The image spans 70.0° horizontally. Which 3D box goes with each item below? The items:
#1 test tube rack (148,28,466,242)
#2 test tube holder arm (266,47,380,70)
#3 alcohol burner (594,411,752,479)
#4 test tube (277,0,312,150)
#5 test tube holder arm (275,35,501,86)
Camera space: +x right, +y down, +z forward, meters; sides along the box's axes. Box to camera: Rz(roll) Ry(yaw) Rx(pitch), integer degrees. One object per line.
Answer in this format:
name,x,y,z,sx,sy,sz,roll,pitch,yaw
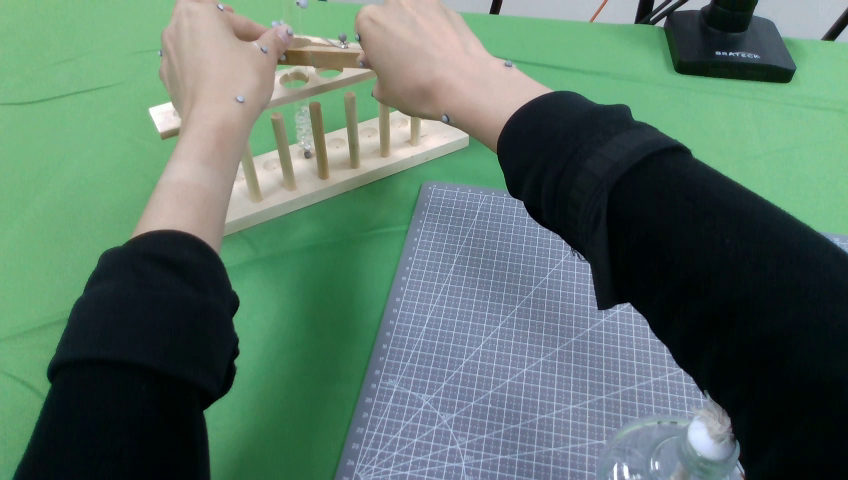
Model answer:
test tube rack,-0.082,-0.091,0.498,0.243,0.086,0.066,-23,52,-20
test tube holder arm,-0.074,-0.134,0.448,0.087,0.015,0.010,4,52,11
alcohol burner,0.124,0.112,0.291,0.078,0.120,0.077,-1,49,1
test tube,-0.099,-0.132,0.467,0.017,0.151,0.017,3,45,-2
test tube holder arm,-0.030,-0.131,0.440,0.177,0.015,0.013,12,54,17
